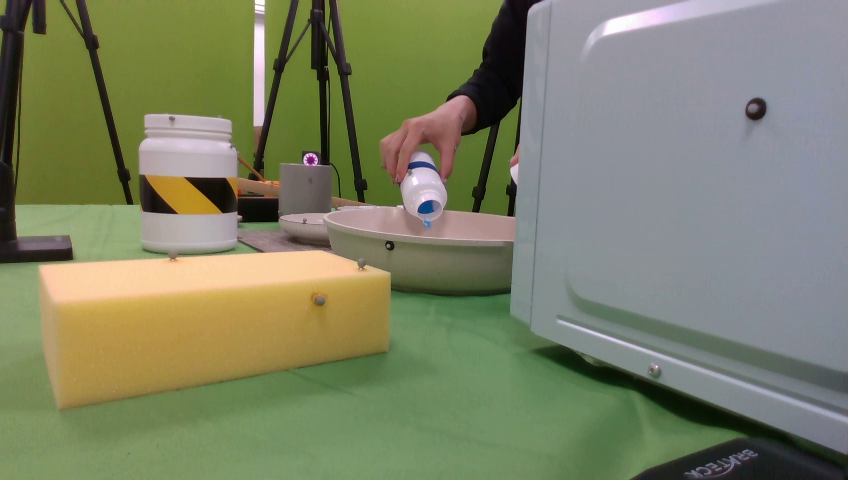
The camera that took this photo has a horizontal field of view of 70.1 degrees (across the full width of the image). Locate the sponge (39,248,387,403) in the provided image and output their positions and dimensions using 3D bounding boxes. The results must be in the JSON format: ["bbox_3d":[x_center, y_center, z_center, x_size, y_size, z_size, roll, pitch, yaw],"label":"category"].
[{"bbox_3d":[-0.142,0.047,0.420,0.208,0.061,0.117,-3,8,-37],"label":"sponge"}]

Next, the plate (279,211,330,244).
[{"bbox_3d":[-0.139,-0.022,1.021,0.209,0.038,0.209,2,8,0],"label":"plate"}]

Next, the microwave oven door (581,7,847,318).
[{"bbox_3d":[0.295,-0.067,0.569,0.358,0.243,0.039,-3,8,-31],"label":"microwave oven door"}]

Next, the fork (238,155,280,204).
[{"bbox_3d":[-0.396,-0.143,1.486,0.028,0.018,0.208,19,-26,44],"label":"fork"}]

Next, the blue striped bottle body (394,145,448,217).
[{"bbox_3d":[-0.003,-0.082,0.870,0.063,0.063,0.120,0,38,-15],"label":"blue striped bottle body"}]

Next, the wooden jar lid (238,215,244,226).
[{"bbox_3d":[-0.404,-0.037,1.169,0.108,0.020,0.108,3,7,0],"label":"wooden jar lid"}]

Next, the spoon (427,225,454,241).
[{"bbox_3d":[0.024,-0.018,1.124,0.042,0.021,0.193,-17,10,-4],"label":"spoon"}]

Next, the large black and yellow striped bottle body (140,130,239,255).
[{"bbox_3d":[-0.336,-0.078,0.871,0.131,0.184,0.130,2,8,0],"label":"large black and yellow striped bottle body"}]

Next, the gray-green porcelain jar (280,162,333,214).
[{"bbox_3d":[-0.238,-0.092,1.221,0.106,0.126,0.106,2,7,0],"label":"gray-green porcelain jar"}]

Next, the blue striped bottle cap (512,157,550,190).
[{"bbox_3d":[0.134,-0.084,0.756,0.045,0.020,0.044,17,35,-12],"label":"blue striped bottle cap"}]

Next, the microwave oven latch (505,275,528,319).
[{"bbox_3d":[0.100,0.042,0.471,0.079,0.029,0.030,-1,7,-29],"label":"microwave oven latch"}]

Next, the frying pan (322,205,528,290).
[{"bbox_3d":[0.109,-0.017,0.799,0.490,0.102,0.305,-12,16,-30],"label":"frying pan"}]

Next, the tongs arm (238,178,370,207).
[{"bbox_3d":[-0.241,-0.095,1.373,0.387,0.026,0.050,9,-1,-37],"label":"tongs arm"}]

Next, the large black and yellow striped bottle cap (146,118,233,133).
[{"bbox_3d":[-0.333,-0.163,0.860,0.115,0.019,0.115,1,9,0],"label":"large black and yellow striped bottle cap"}]

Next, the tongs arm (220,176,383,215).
[{"bbox_3d":[-0.285,-0.103,1.445,0.389,0.027,0.028,9,-4,-23],"label":"tongs arm"}]

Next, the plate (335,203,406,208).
[{"bbox_3d":[-0.089,-0.053,1.309,0.208,0.039,0.207,2,8,0],"label":"plate"}]

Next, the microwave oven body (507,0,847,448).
[{"bbox_3d":[0.331,-0.042,0.425,0.444,0.260,0.324,-2,8,-31],"label":"microwave oven body"}]
